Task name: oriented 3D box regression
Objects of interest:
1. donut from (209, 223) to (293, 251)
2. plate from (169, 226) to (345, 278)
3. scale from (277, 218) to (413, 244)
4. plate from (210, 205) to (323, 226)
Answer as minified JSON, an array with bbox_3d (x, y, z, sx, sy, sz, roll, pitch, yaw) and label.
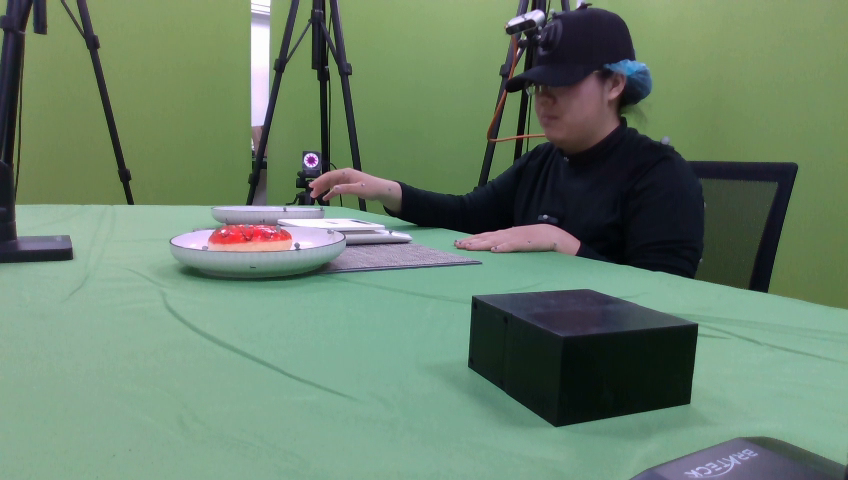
[{"bbox_3d":[-0.210,0.004,0.738,0.099,0.048,0.099,0,8,0],"label":"donut"},{"bbox_3d":[-0.202,0.014,0.748,0.209,0.038,0.209,1,9,0],"label":"plate"},{"bbox_3d":[-0.134,-0.016,1.015,0.202,0.031,0.148,-2,9,-33],"label":"scale"},{"bbox_3d":[-0.298,-0.043,1.153,0.208,0.039,0.207,2,5,0],"label":"plate"}]
